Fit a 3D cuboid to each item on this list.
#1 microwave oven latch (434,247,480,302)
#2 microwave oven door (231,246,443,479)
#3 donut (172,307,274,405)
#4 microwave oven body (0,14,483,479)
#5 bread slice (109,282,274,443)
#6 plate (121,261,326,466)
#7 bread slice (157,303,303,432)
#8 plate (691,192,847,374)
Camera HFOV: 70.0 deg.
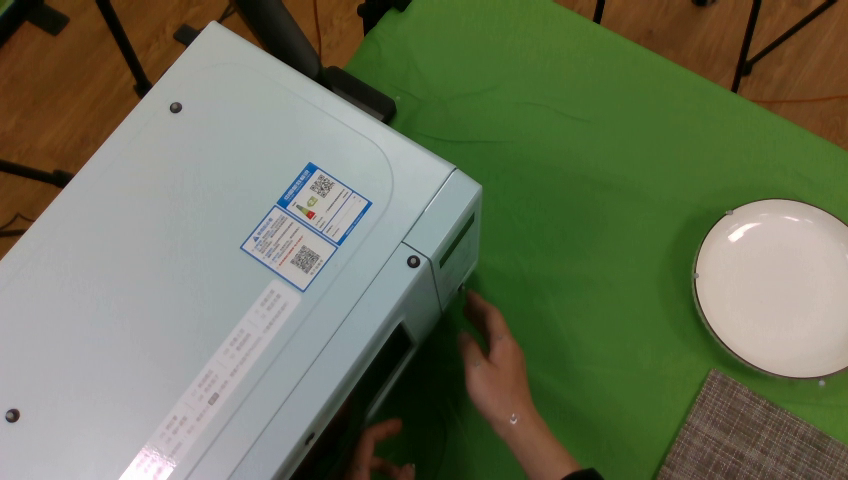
[{"bbox_3d":[0.032,0.034,0.698,0.030,0.029,0.079,39,80,13],"label":"microwave oven latch"},{"bbox_3d":[-0.101,0.180,0.556,0.039,0.245,0.355,33,78,13],"label":"microwave oven door"},{"bbox_3d":[-0.200,0.116,0.608,0.099,0.048,0.098,3,72,-8],"label":"donut"},{"bbox_3d":[-0.196,0.071,0.600,0.324,0.261,0.441,33,79,12],"label":"microwave oven body"},{"bbox_3d":[-0.215,0.107,0.584,0.107,0.018,0.134,43,72,4],"label":"bread slice"},{"bbox_3d":[-0.205,0.125,0.634,0.209,0.038,0.208,0,76,0],"label":"plate"},{"bbox_3d":[-0.212,0.140,0.649,0.131,0.019,0.104,-34,76,-28],"label":"bread slice"},{"bbox_3d":[0.407,0.048,0.690,0.207,0.039,0.206,-1,73,3],"label":"plate"}]
